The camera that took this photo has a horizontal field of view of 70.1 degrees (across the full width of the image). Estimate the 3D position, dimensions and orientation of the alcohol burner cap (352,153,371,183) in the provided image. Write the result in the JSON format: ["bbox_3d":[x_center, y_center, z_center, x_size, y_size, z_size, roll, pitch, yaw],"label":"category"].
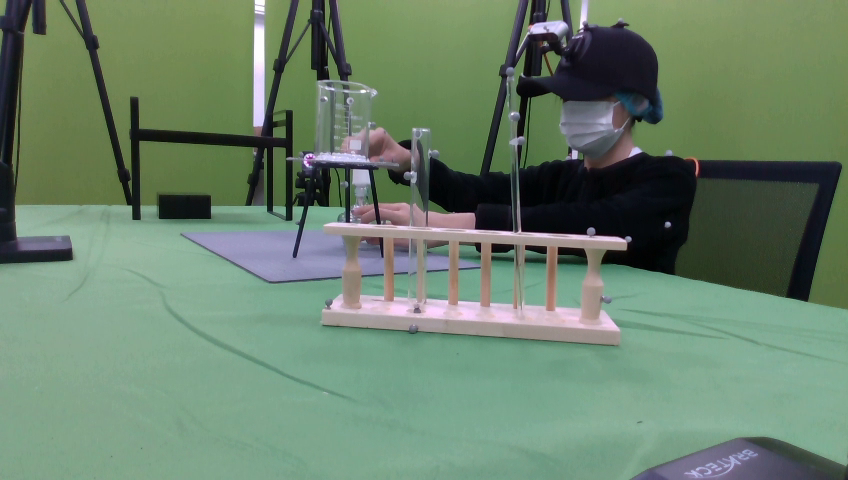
[{"bbox_3d":[-0.097,-0.113,0.948,0.034,0.048,0.034,-1,2,0],"label":"alcohol burner cap"}]

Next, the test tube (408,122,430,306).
[{"bbox_3d":[-0.004,-0.019,0.489,0.017,0.150,0.017,1,11,0],"label":"test tube"}]

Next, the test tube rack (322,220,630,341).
[{"bbox_3d":[0.041,0.029,0.512,0.242,0.085,0.067,3,7,5],"label":"test tube rack"}]

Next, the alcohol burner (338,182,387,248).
[{"bbox_3d":[-0.098,-0.049,0.954,0.078,0.119,0.078,0,7,0],"label":"alcohol burner"}]

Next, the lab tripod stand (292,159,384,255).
[{"bbox_3d":[-0.105,-0.039,0.797,0.148,0.131,0.148,2,5,0],"label":"lab tripod stand"}]

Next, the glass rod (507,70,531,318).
[{"bbox_3d":[0.076,-0.031,0.476,0.008,0.199,0.008,-6,12,2],"label":"glass rod"}]

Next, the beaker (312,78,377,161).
[{"bbox_3d":[-0.103,-0.151,0.775,0.084,0.100,0.074,5,6,14],"label":"beaker"}]

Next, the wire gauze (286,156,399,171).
[{"bbox_3d":[-0.101,-0.103,0.788,0.121,0.011,0.125,5,4,6],"label":"wire gauze"}]
